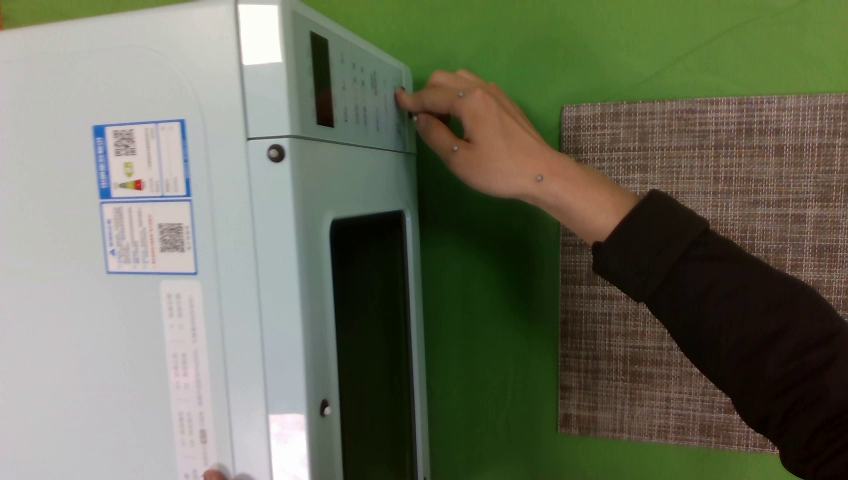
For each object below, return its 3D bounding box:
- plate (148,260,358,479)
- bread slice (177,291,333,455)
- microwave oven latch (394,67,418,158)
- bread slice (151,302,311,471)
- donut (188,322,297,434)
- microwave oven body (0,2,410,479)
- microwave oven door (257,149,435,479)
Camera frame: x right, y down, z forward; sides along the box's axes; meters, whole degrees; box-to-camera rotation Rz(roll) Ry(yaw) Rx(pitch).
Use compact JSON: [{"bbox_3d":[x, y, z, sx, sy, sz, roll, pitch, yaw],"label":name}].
[{"bbox_3d":[-0.156,0.120,0.563,0.207,0.039,0.208,1,96,14],"label":"plate"},{"bbox_3d":[-0.163,0.115,0.556,0.134,0.018,0.107,41,97,9],"label":"bread slice"},{"bbox_3d":[-0.023,-0.114,0.547,0.030,0.029,0.079,-1,96,16],"label":"microwave oven latch"},{"bbox_3d":[-0.172,0.121,0.510,0.131,0.019,0.105,47,108,4],"label":"bread slice"},{"bbox_3d":[-0.160,0.121,0.535,0.099,0.048,0.099,1,94,11],"label":"donut"},{"bbox_3d":[-0.186,0.073,0.513,0.325,0.260,0.442,-1,96,16],"label":"microwave oven body"},{"bbox_3d":[-0.045,0.113,0.472,0.039,0.244,0.356,-1,95,17],"label":"microwave oven door"}]
